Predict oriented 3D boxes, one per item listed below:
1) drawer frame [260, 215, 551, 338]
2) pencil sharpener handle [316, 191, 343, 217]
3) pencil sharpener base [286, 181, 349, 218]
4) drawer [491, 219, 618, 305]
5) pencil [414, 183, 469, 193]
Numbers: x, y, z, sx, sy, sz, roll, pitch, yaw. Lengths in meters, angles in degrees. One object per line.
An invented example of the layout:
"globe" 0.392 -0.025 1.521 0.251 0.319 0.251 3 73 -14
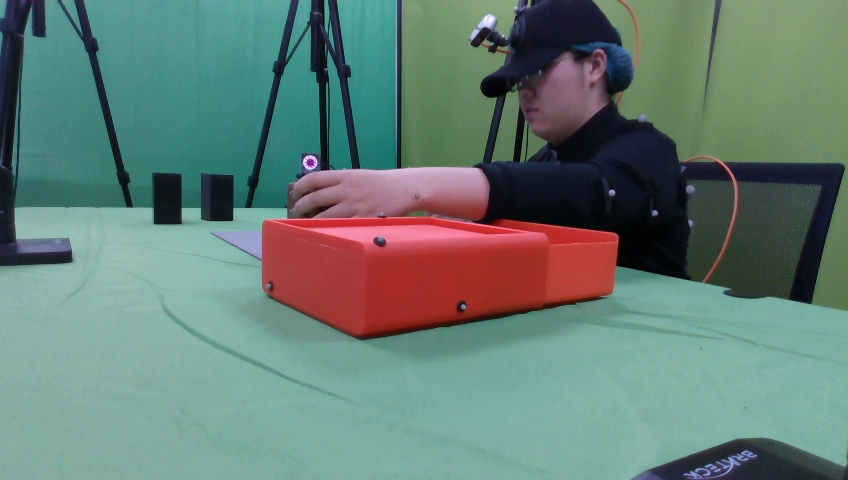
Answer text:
"drawer frame" -0.022 0.023 0.595 0.215 0.082 0.200 -4 10 -38
"pencil sharpener handle" -0.110 -0.026 0.747 0.036 0.067 0.030 -6 11 -33
"pencil sharpener base" -0.139 -0.021 0.790 0.062 0.107 0.076 -2 9 -34
"drawer" 0.071 0.021 0.669 0.213 0.073 0.193 -3 10 -39
"pencil" 0.031 -0.098 1.137 0.012 0.012 0.193 -1 8 -30
